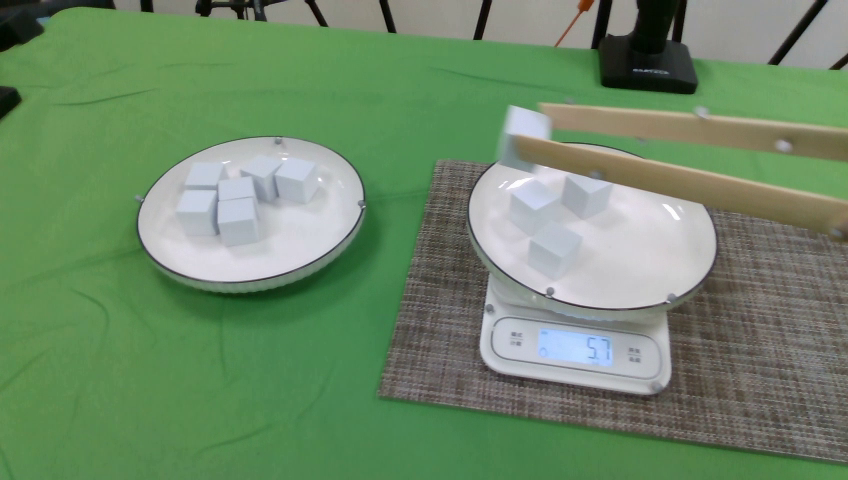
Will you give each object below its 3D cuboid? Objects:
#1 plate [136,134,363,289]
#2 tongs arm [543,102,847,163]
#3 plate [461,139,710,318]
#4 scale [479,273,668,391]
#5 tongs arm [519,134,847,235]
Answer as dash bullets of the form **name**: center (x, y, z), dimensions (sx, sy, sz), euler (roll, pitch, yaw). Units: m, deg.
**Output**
- **plate**: center (-0.161, -0.028, 0.582), dimensions (0.209, 0.038, 0.207), euler (1, 45, -1)
- **tongs arm**: center (0.236, -0.042, 0.348), dimensions (0.382, 0.027, 0.050), euler (14, 56, 34)
- **plate**: center (0.135, -0.011, 0.525), dimensions (0.208, 0.039, 0.205), euler (1, 46, -1)
- **scale**: center (0.130, 0.032, 0.528), dimensions (0.148, 0.032, 0.199), euler (7, 46, 7)
- **tongs arm**: center (0.221, -0.023, 0.337), dimensions (0.384, 0.028, 0.028), euler (18, 54, 36)
